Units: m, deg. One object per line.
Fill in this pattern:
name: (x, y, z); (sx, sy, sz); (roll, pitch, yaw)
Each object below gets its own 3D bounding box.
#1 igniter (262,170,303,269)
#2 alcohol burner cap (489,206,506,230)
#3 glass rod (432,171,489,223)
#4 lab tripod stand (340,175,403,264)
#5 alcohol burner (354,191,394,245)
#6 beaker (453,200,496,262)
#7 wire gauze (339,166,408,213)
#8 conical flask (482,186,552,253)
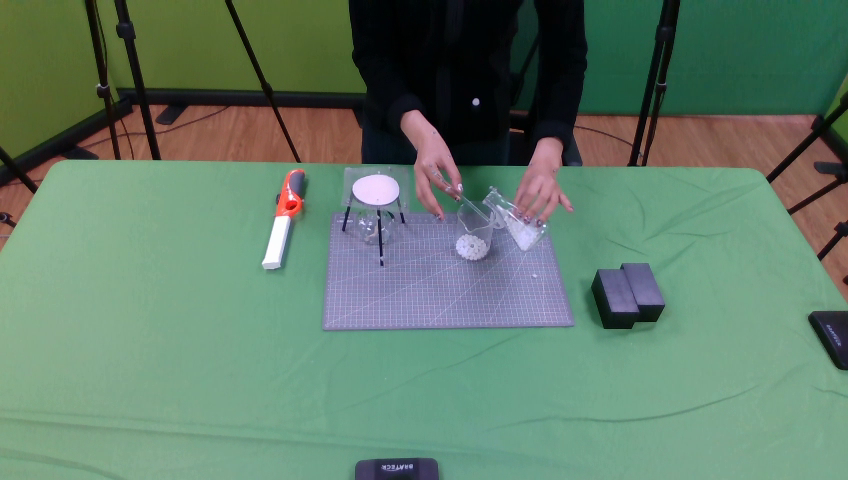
igniter: (-0.283, -0.050, 1.222); (0.057, 0.025, 0.275); (-4, 45, 6)
alcohol burner cap: (0.152, -0.047, 1.240); (0.034, 0.048, 0.033); (2, 46, -2)
glass rod: (0.069, -0.074, 1.086); (0.008, 0.201, 0.008); (-16, 58, 28)
lab tripod stand: (-0.093, -0.050, 1.160); (0.148, 0.132, 0.147); (2, 44, -2)
alcohol burner: (-0.096, -0.048, 1.171); (0.078, 0.119, 0.077); (4, 45, -4)
beaker: (0.094, -0.012, 1.162); (0.074, 0.101, 0.083); (16, 47, 12)
wire gauze: (-0.091, -0.096, 1.110); (0.125, 0.011, 0.120); (2, 45, -3)
conical flask: (0.159, -0.041, 1.071); (0.122, 0.075, 0.075); (43, 53, -1)
